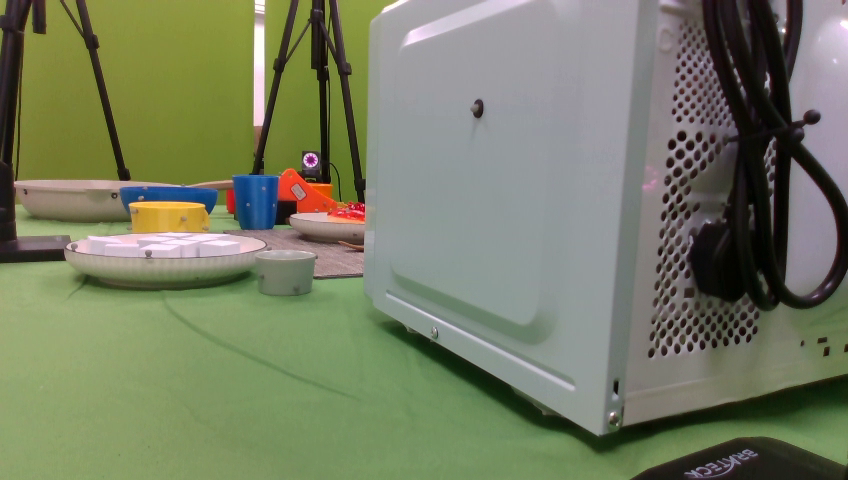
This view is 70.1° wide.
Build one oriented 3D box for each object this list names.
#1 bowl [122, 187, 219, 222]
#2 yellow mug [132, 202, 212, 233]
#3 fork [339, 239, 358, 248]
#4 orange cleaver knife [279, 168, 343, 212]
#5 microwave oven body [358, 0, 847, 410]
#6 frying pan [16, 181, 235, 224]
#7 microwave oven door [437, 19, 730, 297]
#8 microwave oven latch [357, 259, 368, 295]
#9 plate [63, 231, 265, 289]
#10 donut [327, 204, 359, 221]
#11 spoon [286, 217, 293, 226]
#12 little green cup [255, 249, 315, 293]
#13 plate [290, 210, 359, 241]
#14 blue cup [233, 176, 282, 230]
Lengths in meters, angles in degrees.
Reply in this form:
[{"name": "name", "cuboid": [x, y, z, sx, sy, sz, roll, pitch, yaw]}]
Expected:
[{"name": "bowl", "cuboid": [-0.421, -0.046, 1.012, 0.151, 0.077, 0.151, 2, 8, 0]}, {"name": "yellow mug", "cuboid": [-0.356, -0.020, 0.878, 0.099, 0.064, 0.131, 5, 7, 21]}, {"name": "fork", "cuboid": [-0.027, 0.003, 0.924, 0.208, 0.018, 0.028, -2, -4, -18]}, {"name": "orange cleaver knife", "cuboid": [-0.236, -0.084, 1.333, 0.212, 0.077, 0.012, 31, -9, -32]}, {"name": "microwave oven body", "cuboid": [0.210, -0.051, 0.471, 0.444, 0.260, 0.324, -1, 7, -28]}, {"name": "frying pan", "cuboid": [-0.554, -0.097, 1.266, 0.490, 0.102, 0.305, -10, 13, -24]}, {"name": "microwave oven door", "cuboid": [0.181, -0.076, 0.618, 0.358, 0.243, 0.039, -2, 9, -28]}, {"name": "microwave oven latch", "cuboid": [-0.019, 0.031, 0.529, 0.079, 0.029, 0.030, -1, 7, -26]}, {"name": "plate", "cuboid": [-0.288, 0.021, 0.687, 0.208, 0.039, 0.207, 2, 8, 0]}, {"name": "donut", "cuboid": [-0.120, -0.037, 1.055, 0.099, 0.048, 0.099, 5, 6, 0]}, {"name": "spoon", "cuboid": [-0.180, -0.037, 1.209, 0.195, 0.021, 0.041, -3, -12, -31]}, {"name": "little green cup", "cuboid": [-0.144, 0.031, 0.627, 0.061, 0.038, 0.061, 2, 6, 0]}, {"name": "plate", "cuboid": [-0.127, -0.026, 1.051, 0.209, 0.038, 0.209, 2, 7, 0]}, {"name": "blue cup", "cuboid": [-0.314, -0.071, 1.141, 0.093, 0.100, 0.092, 0, 7, 0]}]
